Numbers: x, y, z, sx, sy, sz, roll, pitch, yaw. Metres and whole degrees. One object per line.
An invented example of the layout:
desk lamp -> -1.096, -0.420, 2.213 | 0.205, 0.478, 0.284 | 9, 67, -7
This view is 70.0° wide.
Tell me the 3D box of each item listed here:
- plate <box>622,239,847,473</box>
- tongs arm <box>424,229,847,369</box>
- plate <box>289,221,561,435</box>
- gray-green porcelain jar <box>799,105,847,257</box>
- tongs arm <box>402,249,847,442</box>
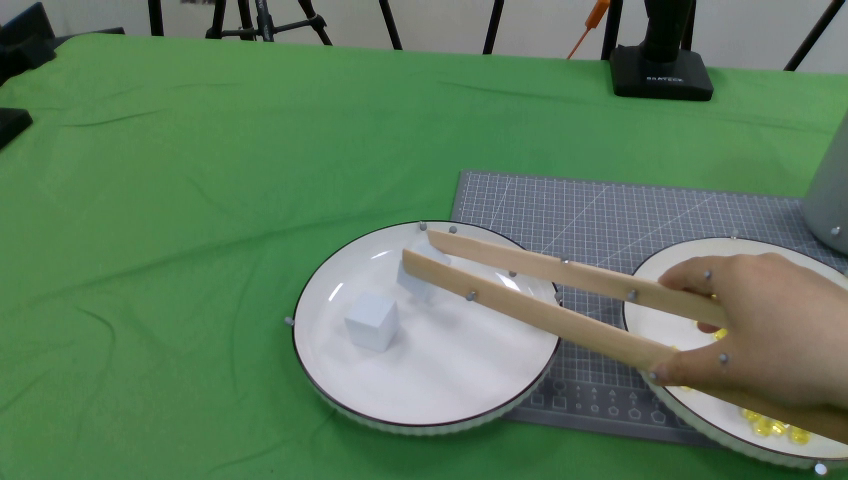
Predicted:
plate -> 0.253, 0.081, 0.456 | 0.208, 0.039, 0.205 | 0, 42, 1
tongs arm -> 0.156, 0.053, 0.391 | 0.382, 0.027, 0.050 | 14, 41, 27
plate -> 0.002, 0.065, 0.478 | 0.209, 0.038, 0.207 | -1, 42, 2
gray-green porcelain jar -> 0.405, -0.052, 0.533 | 0.106, 0.127, 0.105 | -1, 42, 1
tongs arm -> 0.143, 0.065, 0.377 | 0.384, 0.028, 0.028 | 17, 39, 30
